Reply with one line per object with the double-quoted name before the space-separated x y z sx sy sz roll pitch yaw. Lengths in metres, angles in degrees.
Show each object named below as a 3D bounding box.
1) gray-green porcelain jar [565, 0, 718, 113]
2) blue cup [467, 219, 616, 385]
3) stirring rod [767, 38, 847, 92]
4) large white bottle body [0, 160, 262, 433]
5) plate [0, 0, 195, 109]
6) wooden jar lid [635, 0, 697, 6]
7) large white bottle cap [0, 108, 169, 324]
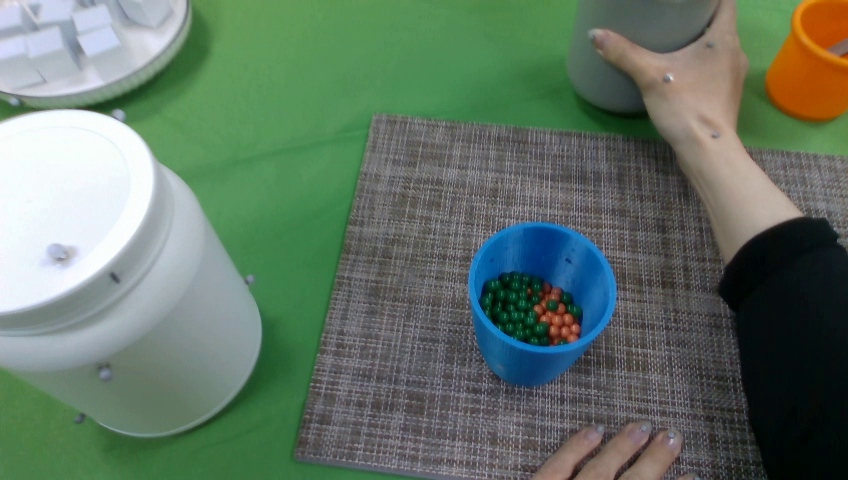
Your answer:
"gray-green porcelain jar" 0.178 -0.180 0.508 0.106 0.127 0.105 -1 59 1
"blue cup" 0.069 0.050 0.391 0.092 0.101 0.092 -1 60 2
"stirring rod" 0.381 -0.176 0.508 0.176 0.006 0.014 -30 55 32
"large white bottle body" -0.181 0.029 0.358 0.130 0.186 0.129 0 59 0
"plate" -0.322 -0.199 0.579 0.208 0.039 0.205 0 59 0
"wooden jar lid" 0.176 -0.212 0.455 0.108 0.021 0.107 0 55 0
"large white bottle cap" -0.181 -0.016 0.285 0.115 0.018 0.114 0 59 0
